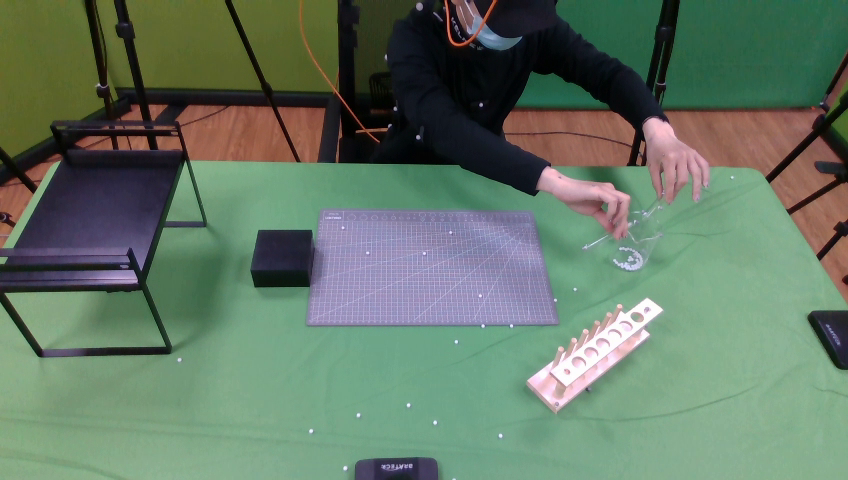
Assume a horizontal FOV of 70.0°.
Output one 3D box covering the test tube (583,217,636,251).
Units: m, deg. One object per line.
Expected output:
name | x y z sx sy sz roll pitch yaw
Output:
test tube | 0.335 -0.012 1.090 0.150 0.017 0.017 -24 52 -35

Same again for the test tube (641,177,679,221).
test tube | 0.459 -0.082 1.175 0.017 0.017 0.150 32 54 24

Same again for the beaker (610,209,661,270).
beaker | 0.404 0.005 1.170 0.074 0.101 0.083 19 49 15

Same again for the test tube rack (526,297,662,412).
test tube rack | 0.284 0.176 1.007 0.242 0.085 0.066 -29 54 -27
